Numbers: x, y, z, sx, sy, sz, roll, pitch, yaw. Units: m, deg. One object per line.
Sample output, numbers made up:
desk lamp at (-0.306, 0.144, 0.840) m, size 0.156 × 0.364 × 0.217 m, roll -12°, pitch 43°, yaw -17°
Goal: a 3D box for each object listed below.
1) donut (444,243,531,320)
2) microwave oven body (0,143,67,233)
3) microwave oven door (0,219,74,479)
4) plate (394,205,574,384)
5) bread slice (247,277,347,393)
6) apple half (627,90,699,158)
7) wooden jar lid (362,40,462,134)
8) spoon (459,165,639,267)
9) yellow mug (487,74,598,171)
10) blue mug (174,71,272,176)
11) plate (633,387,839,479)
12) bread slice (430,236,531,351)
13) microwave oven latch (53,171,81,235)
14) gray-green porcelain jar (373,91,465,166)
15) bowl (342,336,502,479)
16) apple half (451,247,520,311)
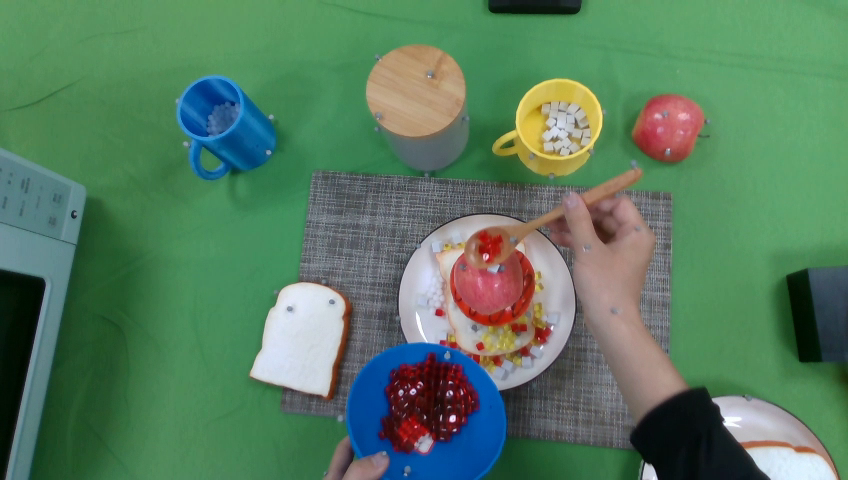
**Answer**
donut at (0.072, 0.043, 0.687) m, size 0.099 × 0.048 × 0.098 m, roll -1°, pitch 80°, yaw 7°
microwave oven body at (-0.637, 0.096, 0.664) m, size 0.325 × 0.261 × 0.440 m, roll 5°, pitch 80°, yaw 6°
microwave oven door at (-0.496, 0.148, 0.635) m, size 0.039 × 0.245 × 0.354 m, roll 4°, pitch 79°, yaw 8°
plate at (0.069, 0.064, 0.712) m, size 0.207 × 0.039 × 0.206 m, roll -1°, pitch 79°, yaw 6°
bread slice at (-0.152, 0.110, 0.737) m, size 0.105 × 0.019 × 0.131 m, roll 12°, pitch 82°, yaw 7°
apple half at (0.289, -0.145, 0.725) m, size 0.074 × 0.053 × 0.080 m, roll 26°, pitch 83°, yaw 13°
wooden jar lid at (-0.012, -0.164, 0.657) m, size 0.108 × 0.021 × 0.108 m, roll -1°, pitch 77°, yaw 3°
spoon at (0.114, -0.022, 0.577) m, size 0.193 × 0.022 × 0.041 m, roll -27°, pitch 84°, yaw 33°
yellow mug at (0.140, -0.135, 0.732) m, size 0.131 × 0.064 × 0.099 m, roll -18°, pitch 78°, yaw 3°
blue mug at (-0.254, -0.134, 0.751) m, size 0.082 × 0.106 × 0.116 m, roll 25°, pitch 83°, yaw 10°
plate at (0.329, 0.263, 0.652) m, size 0.209 × 0.038 × 0.208 m, roll -1°, pitch 79°, yaw 6°
bread slice at (0.073, 0.062, 0.712) m, size 0.107 × 0.018 × 0.133 m, roll -12°, pitch 81°, yaw 3°
microwave oven latch at (-0.462, -0.047, 0.771) m, size 0.030 × 0.029 × 0.079 m, roll 8°, pitch 81°, yaw 7°
gray-green porcelain jar at (-0.005, -0.151, 0.719) m, size 0.106 × 0.127 × 0.105 m, roll -1°, pitch 79°, yaw 6°
bowl at (-0.006, 0.178, 0.585) m, size 0.152 × 0.077 × 0.150 m, roll 6°, pitch 48°, yaw -7°
apple half at (0.066, 0.035, 0.652) m, size 0.081 × 0.033 × 0.081 m, roll -3°, pitch 76°, yaw 13°
